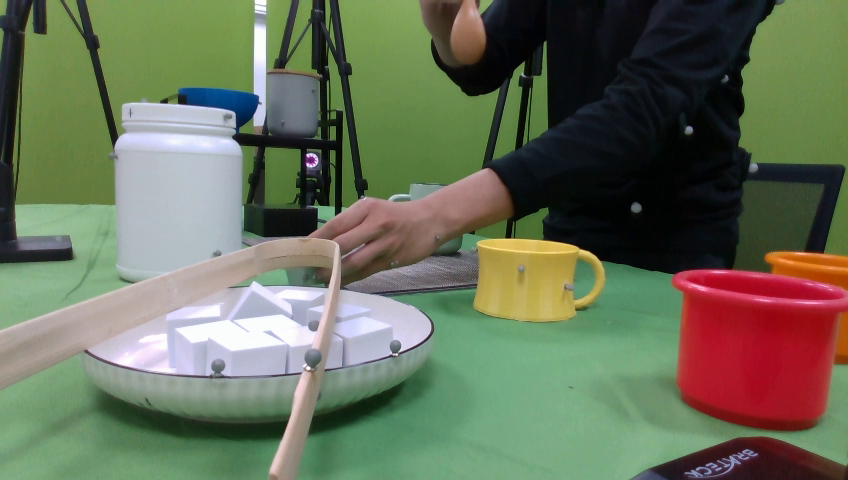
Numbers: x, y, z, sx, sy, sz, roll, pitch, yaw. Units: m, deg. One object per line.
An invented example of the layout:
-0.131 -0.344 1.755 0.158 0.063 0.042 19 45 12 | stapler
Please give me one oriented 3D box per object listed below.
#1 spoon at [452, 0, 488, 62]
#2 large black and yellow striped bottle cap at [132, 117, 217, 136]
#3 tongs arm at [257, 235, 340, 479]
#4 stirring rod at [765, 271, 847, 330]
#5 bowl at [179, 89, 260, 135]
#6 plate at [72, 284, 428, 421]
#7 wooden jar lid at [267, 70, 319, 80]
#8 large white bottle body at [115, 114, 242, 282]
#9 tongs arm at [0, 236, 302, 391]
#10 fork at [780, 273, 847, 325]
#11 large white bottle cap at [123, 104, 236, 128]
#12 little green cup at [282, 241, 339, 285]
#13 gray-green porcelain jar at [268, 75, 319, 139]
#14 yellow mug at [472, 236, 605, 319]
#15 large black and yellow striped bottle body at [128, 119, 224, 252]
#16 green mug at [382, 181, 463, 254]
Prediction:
0.052 -0.296 0.671 0.041 0.193 0.022 0 -3 27 | spoon
-0.359 -0.164 0.875 0.115 0.019 0.115 2 6 0 | large black and yellow striped bottle cap
-0.074 0.040 0.345 0.051 0.026 0.384 -1 10 -3 | tongs arm
0.352 0.020 0.481 0.176 0.006 0.014 -40 -8 17 | stirring rod
-0.400 -0.248 1.188 0.151 0.077 0.151 3 7 0 | bowl
-0.102 0.067 0.381 0.208 0.039 0.207 3 7 0 | plate
-0.275 -0.339 1.271 0.108 0.020 0.108 5 6 0 | wooden jar lid
-0.270 -0.051 0.673 0.131 0.184 0.130 2 8 0 | large white bottle body
-0.157 0.038 0.347 0.028 0.028 0.388 -2 8 12 | tongs arm
0.332 0.018 0.443 0.028 0.018 0.207 -3 -35 -16 | fork
-0.266 -0.135 0.663 0.115 0.018 0.115 3 8 0 | large white bottle cap
-0.115 0.024 0.619 0.061 0.038 0.061 -5 5 1 | little green cup
-0.277 -0.278 1.280 0.106 0.126 0.106 2 8 0 | gray-green porcelain jar
0.114 0.034 0.590 0.131 0.064 0.100 2 7 -7 | yellow mug
-0.361 -0.081 0.887 0.131 0.184 0.130 2 8 0 | large black and yellow striped bottle body
-0.001 -0.036 0.922 0.126 0.105 0.092 0 8 -16 | green mug
